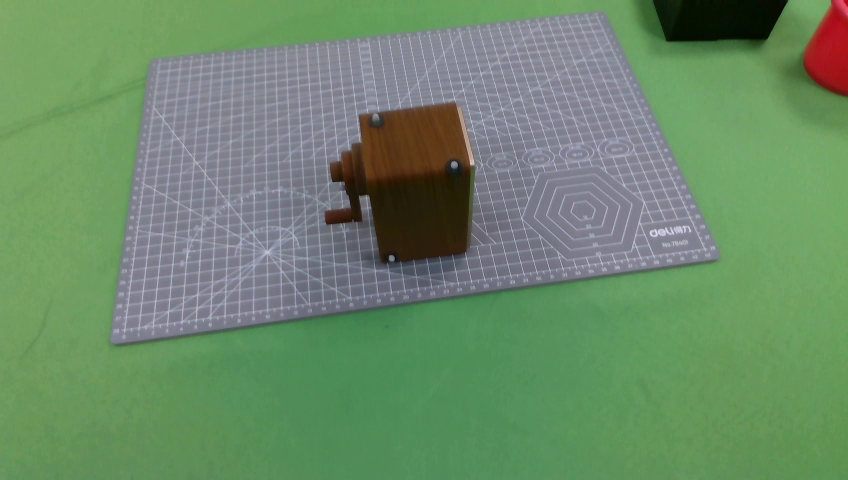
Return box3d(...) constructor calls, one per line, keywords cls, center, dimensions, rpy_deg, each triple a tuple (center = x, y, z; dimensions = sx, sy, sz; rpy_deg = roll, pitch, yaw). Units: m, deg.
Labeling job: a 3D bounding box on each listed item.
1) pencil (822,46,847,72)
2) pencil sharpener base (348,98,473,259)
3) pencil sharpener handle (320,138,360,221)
box3d(cls="pencil", center=(0.426, -0.217, 0.516), dimensions=(0.194, 0.012, 0.012), rpy_deg=(-46, 59, 21))
box3d(cls="pencil sharpener base", center=(-0.010, -0.039, 0.429), dimensions=(0.077, 0.108, 0.061), rpy_deg=(-8, 58, -3))
box3d(cls="pencil sharpener handle", center=(-0.060, -0.038, 0.414), dimensions=(0.031, 0.068, 0.035), rpy_deg=(-8, 52, -3))
